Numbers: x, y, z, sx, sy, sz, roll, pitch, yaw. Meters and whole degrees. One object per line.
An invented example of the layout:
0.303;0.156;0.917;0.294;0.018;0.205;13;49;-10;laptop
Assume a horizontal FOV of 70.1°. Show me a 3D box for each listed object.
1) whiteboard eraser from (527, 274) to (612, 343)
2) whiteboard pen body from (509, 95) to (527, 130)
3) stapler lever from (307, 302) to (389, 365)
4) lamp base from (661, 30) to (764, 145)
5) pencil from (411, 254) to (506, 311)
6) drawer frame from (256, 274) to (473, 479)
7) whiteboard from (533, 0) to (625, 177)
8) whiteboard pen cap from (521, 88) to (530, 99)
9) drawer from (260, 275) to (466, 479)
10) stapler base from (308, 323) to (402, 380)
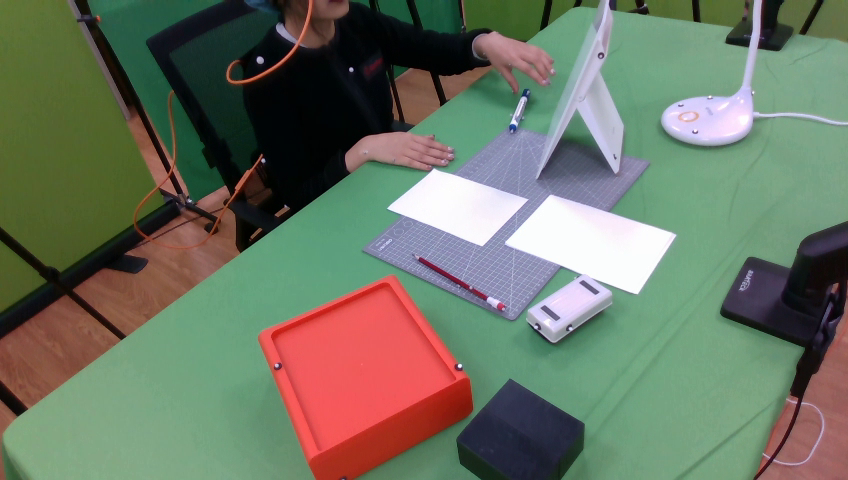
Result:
0.198;0.094;0.820;0.113;0.042;0.055;-29;43;-22;whiteboard eraser
0.199;-0.273;1.262;0.017;0.017;0.140;7;44;19;whiteboard pen body
-0.101;0.121;0.799;0.118;0.040;0.026;-25;29;-17;stapler lever
0.535;-0.287;1.096;0.179;0.181;0.159;-10;40;-4;lamp base
0.047;0.060;0.906;0.012;0.012;0.192;-37;46;-29;pencil
-0.078;0.163;0.756;0.202;0.083;0.211;-23;43;-17;drawer frame
0.321;-0.258;1.049;0.144;0.306;0.217;20;45;4;whiteboard
0.218;-0.312;1.301;0.018;0.018;0.033;6;47;17;whiteboard pen cap
-0.080;0.162;0.760;0.195;0.073;0.210;-22;42;-16;drawer
-0.094;0.142;0.812;0.131;0.024;0.041;-24;29;-17;stapler base
